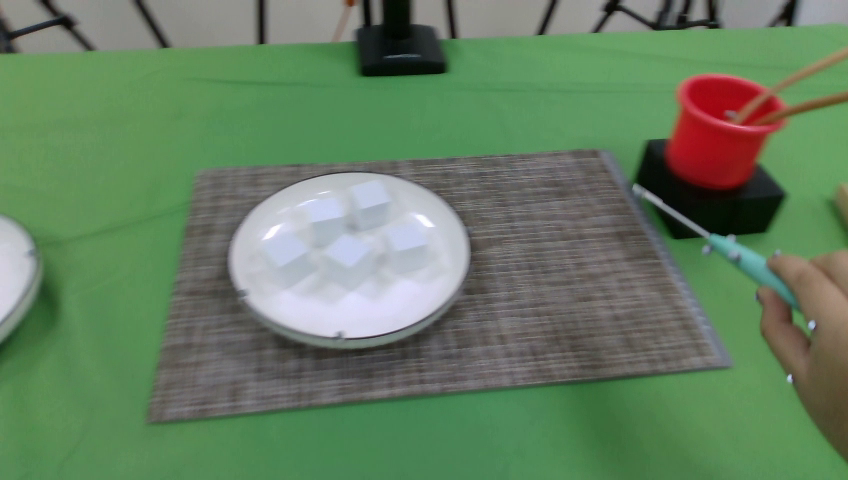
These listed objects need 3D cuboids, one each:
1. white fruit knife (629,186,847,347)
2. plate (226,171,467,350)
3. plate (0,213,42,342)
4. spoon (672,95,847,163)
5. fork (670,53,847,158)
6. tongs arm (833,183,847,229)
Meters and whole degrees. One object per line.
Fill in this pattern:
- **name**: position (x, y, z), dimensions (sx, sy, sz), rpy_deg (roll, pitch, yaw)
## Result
- **white fruit knife**: position (0.200, 0.006, 0.404), dimensions (0.027, 0.016, 0.205), rpy_deg (21, 18, -30)
- **plate**: position (-0.066, 0.017, 0.541), dimensions (0.208, 0.039, 0.205), rpy_deg (2, 45, -1)
- **plate**: position (-0.420, 0.053, 0.488), dimensions (0.209, 0.038, 0.207), rpy_deg (2, 44, -1)
- **spoon**: position (0.308, -0.100, 0.531), dimensions (0.041, 0.193, 0.022), rpy_deg (-32, 96, -36)
- **fork**: position (0.330, -0.131, 0.564), dimensions (0.207, 0.019, 0.028), rpy_deg (-33, 18, 21)
- **tongs arm**: position (0.434, 0.082, 0.514), dimensions (0.028, 0.028, 0.384), rpy_deg (6, 45, 0)
